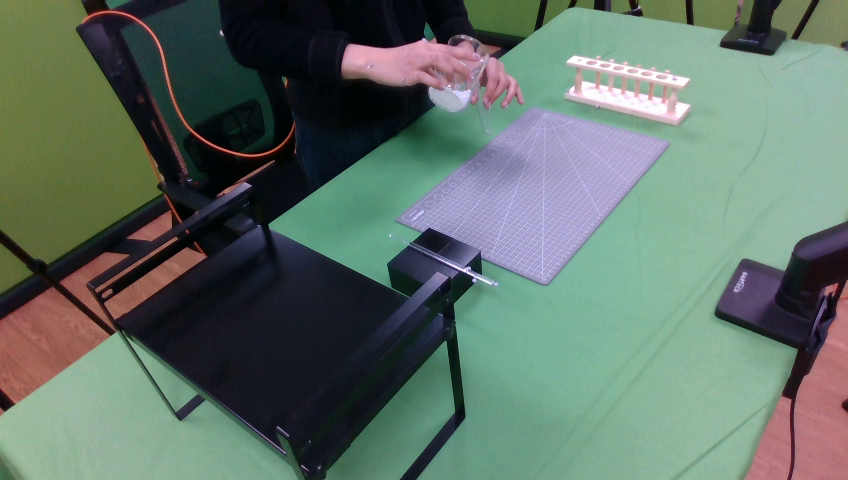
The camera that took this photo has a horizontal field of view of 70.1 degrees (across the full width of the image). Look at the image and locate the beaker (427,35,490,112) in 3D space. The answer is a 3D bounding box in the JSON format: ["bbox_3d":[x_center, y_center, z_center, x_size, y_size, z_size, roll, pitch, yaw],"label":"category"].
[{"bbox_3d":[0.054,-0.264,0.977,0.073,0.084,0.100,18,71,20],"label":"beaker"}]

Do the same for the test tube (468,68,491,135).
[{"bbox_3d":[0.101,-0.245,1.085,0.017,0.151,0.017,-9,53,12],"label":"test tube"}]

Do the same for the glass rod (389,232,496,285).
[{"bbox_3d":[0.022,0.025,0.878,0.198,0.008,0.008,25,50,33],"label":"glass rod"}]

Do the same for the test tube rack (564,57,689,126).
[{"bbox_3d":[0.412,-0.311,1.230,0.240,0.085,0.067,23,49,32],"label":"test tube rack"}]
